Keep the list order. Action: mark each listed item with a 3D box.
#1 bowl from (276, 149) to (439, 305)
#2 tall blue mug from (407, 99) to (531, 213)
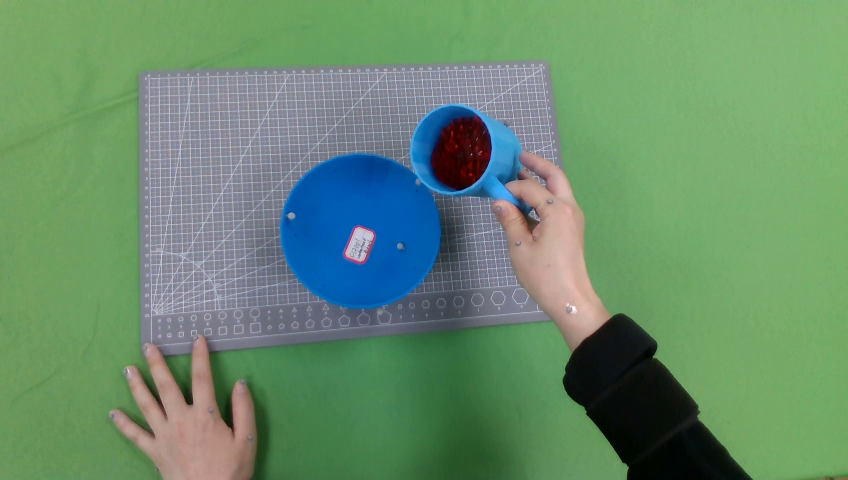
[{"bbox_3d":[-0.065,-0.006,0.599,0.152,0.077,0.150,2,79,-7],"label":"bowl"},{"bbox_3d":[0.054,-0.076,0.548,0.106,0.108,0.078,19,100,19],"label":"tall blue mug"}]
